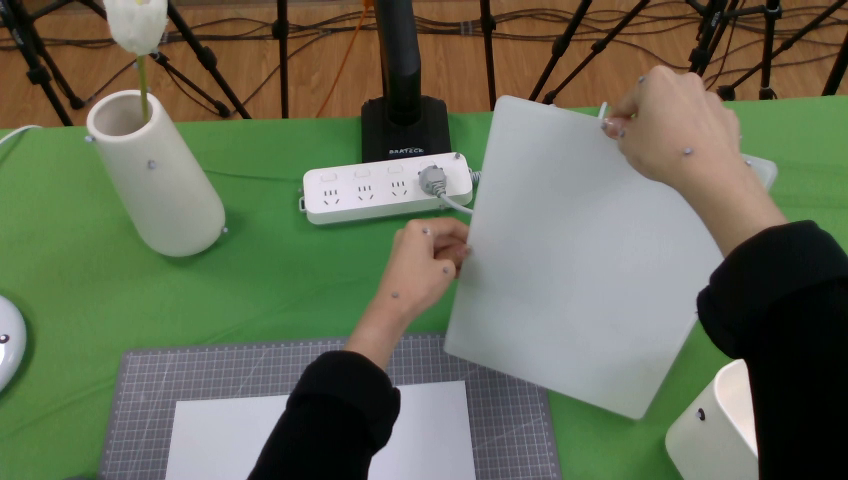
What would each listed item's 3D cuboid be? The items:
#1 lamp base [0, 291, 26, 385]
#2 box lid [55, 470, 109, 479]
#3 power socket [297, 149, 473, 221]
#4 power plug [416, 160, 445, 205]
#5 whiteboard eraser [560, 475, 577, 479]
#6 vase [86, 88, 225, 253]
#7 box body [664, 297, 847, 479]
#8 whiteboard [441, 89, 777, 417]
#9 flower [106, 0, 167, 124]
[{"bbox_3d":[-0.518,0.071,0.579,0.178,0.182,0.160,25,60,18],"label":"lamp base"},{"bbox_3d":[-0.229,0.374,0.493,0.370,0.015,0.262,19,60,10],"label":"box lid"},{"bbox_3d":[-0.048,-0.070,0.764,0.227,0.033,0.071,-7,59,-6],"label":"power socket"},{"bbox_3d":[0.008,-0.064,0.735,0.035,0.053,0.072,1,64,0],"label":"power plug"},{"bbox_3d":[0.117,0.272,0.543,0.055,0.042,0.112,37,64,21],"label":"whiteboard eraser"},{"bbox_3d":[-0.290,-0.070,0.661,0.098,0.201,0.097,0,57,1],"label":"vase"},{"bbox_3d":[0.410,0.242,0.499,0.254,0.162,0.360,-21,60,-14],"label":"box body"},{"bbox_3d":[0.161,-0.004,0.602,0.216,0.308,0.143,18,38,11],"label":"whiteboard"},{"bbox_3d":[-0.269,-0.108,0.588,0.038,0.363,0.044,45,57,5],"label":"flower"}]
